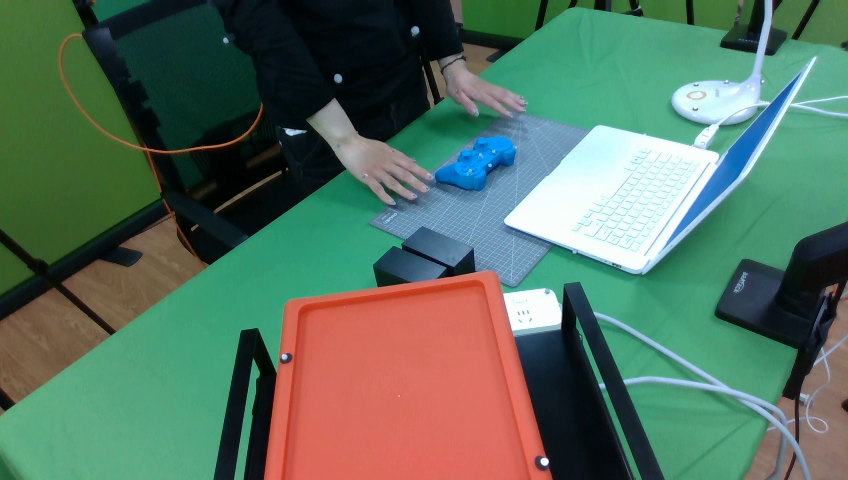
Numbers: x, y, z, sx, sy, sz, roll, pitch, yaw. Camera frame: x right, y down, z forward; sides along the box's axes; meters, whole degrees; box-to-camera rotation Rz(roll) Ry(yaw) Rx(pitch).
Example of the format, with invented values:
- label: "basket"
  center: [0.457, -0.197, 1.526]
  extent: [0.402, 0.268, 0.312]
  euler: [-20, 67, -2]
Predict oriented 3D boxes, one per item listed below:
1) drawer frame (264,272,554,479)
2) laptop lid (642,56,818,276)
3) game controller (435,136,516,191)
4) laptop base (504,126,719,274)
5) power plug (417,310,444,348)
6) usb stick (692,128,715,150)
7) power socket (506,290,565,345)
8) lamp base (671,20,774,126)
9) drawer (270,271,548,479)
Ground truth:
- label: "drawer frame"
  center: [-0.016, 0.134, 0.494]
  extent: [0.202, 0.083, 0.212]
  euler: [-8, 41, -2]
- label: "laptop lid"
  center: [0.445, -0.108, 0.876]
  extent: [0.013, 0.241, 0.357]
  euler: [39, 53, 12]
- label: "game controller"
  center: [0.099, -0.149, 1.111]
  extent: [0.096, 0.052, 0.155]
  euler: [30, 53, 29]
- label: "laptop base"
  center: [0.326, -0.084, 1.028]
  extent: [0.233, 0.023, 0.355]
  euler: [21, 48, 32]
- label: "power plug"
  center: [0.007, 0.123, 0.784]
  extent: [0.035, 0.053, 0.072]
  euler: [-1, 43, 8]
- label: "usb stick"
  center: [0.502, -0.176, 1.091]
  extent: [0.021, 0.027, 0.059]
  euler: [29, 56, 29]
- label: "power socket"
  center: [0.081, 0.112, 0.822]
  extent: [0.227, 0.033, 0.072]
  euler: [-7, 40, 0]
- label: "lamp base"
  center: [0.581, -0.332, 1.154]
  extent: [0.179, 0.181, 0.160]
  euler: [2, 41, 7]
- label: "drawer"
  center: [-0.018, 0.132, 0.499]
  extent: [0.195, 0.073, 0.210]
  euler: [-7, 41, -1]
